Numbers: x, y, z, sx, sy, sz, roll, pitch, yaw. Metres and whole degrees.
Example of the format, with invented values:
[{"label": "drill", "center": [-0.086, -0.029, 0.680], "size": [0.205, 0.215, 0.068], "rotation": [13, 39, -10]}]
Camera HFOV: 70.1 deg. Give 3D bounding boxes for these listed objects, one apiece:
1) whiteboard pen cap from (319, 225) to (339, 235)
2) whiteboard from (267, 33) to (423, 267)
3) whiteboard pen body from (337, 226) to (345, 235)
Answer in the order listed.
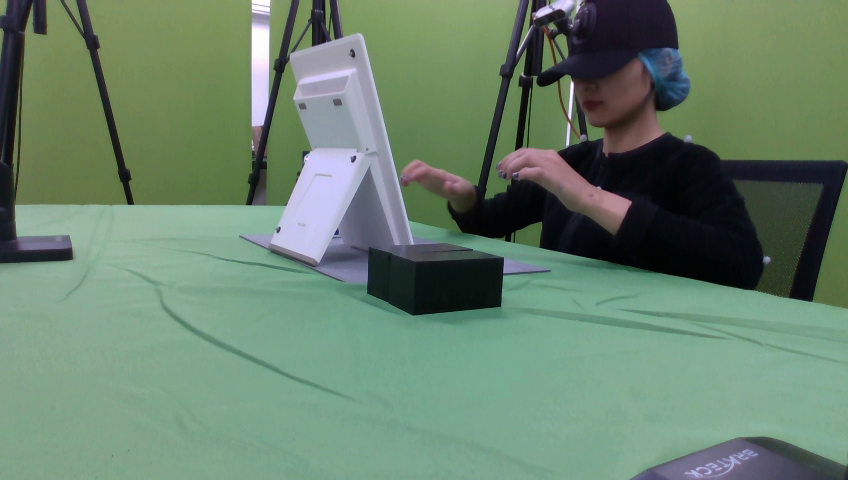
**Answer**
[{"label": "whiteboard pen cap", "center": [-0.164, -0.017, 1.050], "size": [0.033, 0.018, 0.018], "rotation": [1, 6, -34]}, {"label": "whiteboard", "center": [-0.153, -0.098, 0.819], "size": [0.144, 0.305, 0.216], "rotation": [-25, 21, -29]}, {"label": "whiteboard pen body", "center": [-0.115, -0.017, 1.083], "size": [0.141, 0.017, 0.017], "rotation": [0, 7, -34]}]
